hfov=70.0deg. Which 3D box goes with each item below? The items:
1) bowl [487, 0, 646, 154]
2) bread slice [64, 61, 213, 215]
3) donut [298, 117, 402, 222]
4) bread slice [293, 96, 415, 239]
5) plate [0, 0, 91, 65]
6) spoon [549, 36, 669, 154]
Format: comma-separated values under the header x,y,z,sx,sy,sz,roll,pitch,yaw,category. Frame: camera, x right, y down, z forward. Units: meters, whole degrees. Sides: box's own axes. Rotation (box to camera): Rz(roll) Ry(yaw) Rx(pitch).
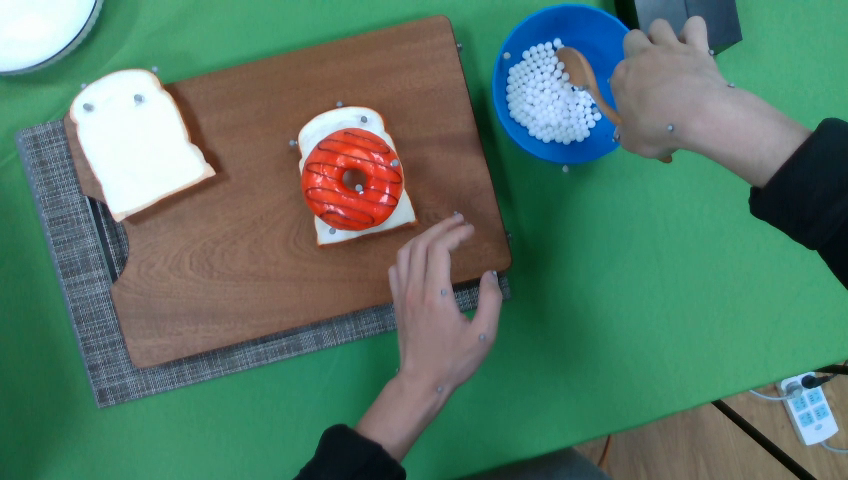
x,y,z,sx,sy,sz,roll,pitch,yaw,category
0.134,-0.157,0.606,0.151,0.076,0.151,0,93,-2,bowl
-0.285,-0.104,0.592,0.107,0.018,0.134,-30,92,-1,bread slice
-0.070,-0.066,0.574,0.099,0.048,0.099,0,94,-3,donut
-0.077,-0.075,0.603,0.105,0.019,0.131,-16,94,-3,bread slice
-0.425,-0.275,0.599,0.208,0.039,0.207,0,93,-2,plate
0.161,-0.131,0.548,0.021,0.191,0.042,-16,136,-6,spoon
